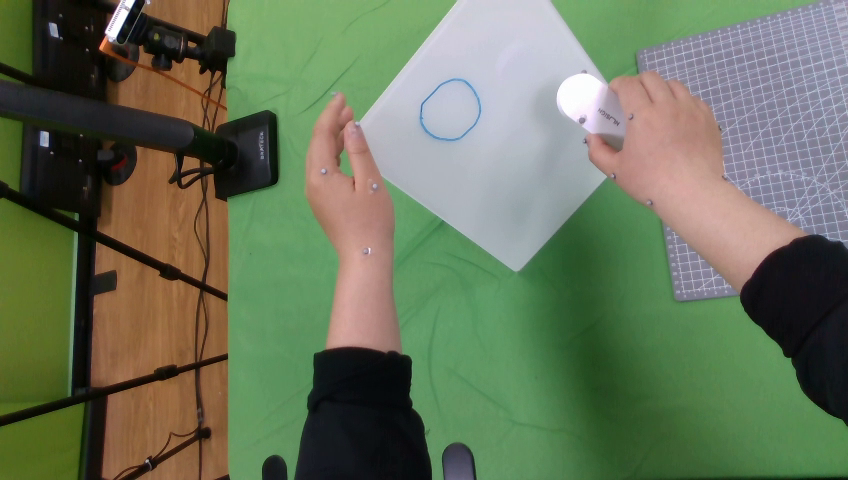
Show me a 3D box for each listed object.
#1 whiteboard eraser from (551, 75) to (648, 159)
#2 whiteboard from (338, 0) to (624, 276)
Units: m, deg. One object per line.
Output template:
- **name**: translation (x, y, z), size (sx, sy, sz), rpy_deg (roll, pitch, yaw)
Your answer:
- **whiteboard eraser**: translation (0.160, -0.111, 0.551), size (0.102, 0.018, 0.041), rpy_deg (32, 94, -15)
- **whiteboard**: translation (0.057, -0.134, 0.658), size (0.217, 0.309, 0.142), rpy_deg (-48, 44, 9)
